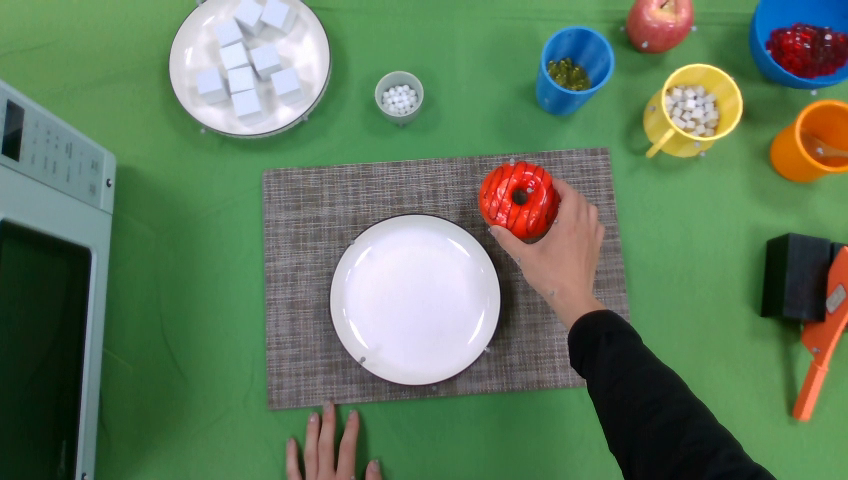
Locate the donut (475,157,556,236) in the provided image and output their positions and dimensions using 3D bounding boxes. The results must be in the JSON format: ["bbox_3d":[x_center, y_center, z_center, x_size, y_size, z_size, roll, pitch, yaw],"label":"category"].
[{"bbox_3d":[0.110,-0.051,0.728,0.099,0.048,0.098,1,78,-4],"label":"donut"}]

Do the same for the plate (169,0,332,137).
[{"bbox_3d":[-0.223,-0.229,0.792,0.208,0.039,0.207,0,80,0],"label":"plate"}]

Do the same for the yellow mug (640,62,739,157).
[{"bbox_3d":[0.323,-0.154,0.766,0.099,0.064,0.131,44,84,7],"label":"yellow mug"}]

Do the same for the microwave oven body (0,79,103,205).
[{"bbox_3d":[-0.549,0.081,0.621,0.326,0.261,0.440,-1,81,-1],"label":"microwave oven body"}]

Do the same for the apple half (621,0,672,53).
[{"bbox_3d":[0.284,-0.285,0.785,0.053,0.075,0.080,1,83,3],"label":"apple half"}]

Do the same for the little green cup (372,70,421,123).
[{"bbox_3d":[-0.034,-0.183,0.785,0.061,0.039,0.061,0,80,0],"label":"little green cup"}]

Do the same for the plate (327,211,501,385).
[{"bbox_3d":[-0.012,0.069,0.737,0.209,0.038,0.208,0,80,0],"label":"plate"}]

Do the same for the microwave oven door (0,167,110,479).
[{"bbox_3d":[-0.403,0.119,0.610,0.039,0.244,0.354,-1,80,0],"label":"microwave oven door"}]

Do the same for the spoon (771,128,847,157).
[{"bbox_3d":[0.507,-0.099,0.714,0.041,0.191,0.022,-46,127,-7],"label":"spoon"}]

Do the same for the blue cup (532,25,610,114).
[{"bbox_3d":[0.175,-0.203,0.757,0.093,0.100,0.092,0,81,-1],"label":"blue cup"}]

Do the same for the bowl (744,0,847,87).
[{"bbox_3d":[0.475,-0.257,0.777,0.151,0.077,0.151,0,81,1],"label":"bowl"}]

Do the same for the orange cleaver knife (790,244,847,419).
[{"bbox_3d":[0.466,0.109,0.712,0.012,0.077,0.212,11,110,5],"label":"orange cleaver knife"}]

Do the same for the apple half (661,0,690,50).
[{"bbox_3d":[0.324,-0.285,0.783,0.033,0.081,0.081,2,79,4],"label":"apple half"}]

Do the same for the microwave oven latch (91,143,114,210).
[{"bbox_3d":[-0.403,-0.078,0.747,0.030,0.029,0.079,1,81,0],"label":"microwave oven latch"}]
